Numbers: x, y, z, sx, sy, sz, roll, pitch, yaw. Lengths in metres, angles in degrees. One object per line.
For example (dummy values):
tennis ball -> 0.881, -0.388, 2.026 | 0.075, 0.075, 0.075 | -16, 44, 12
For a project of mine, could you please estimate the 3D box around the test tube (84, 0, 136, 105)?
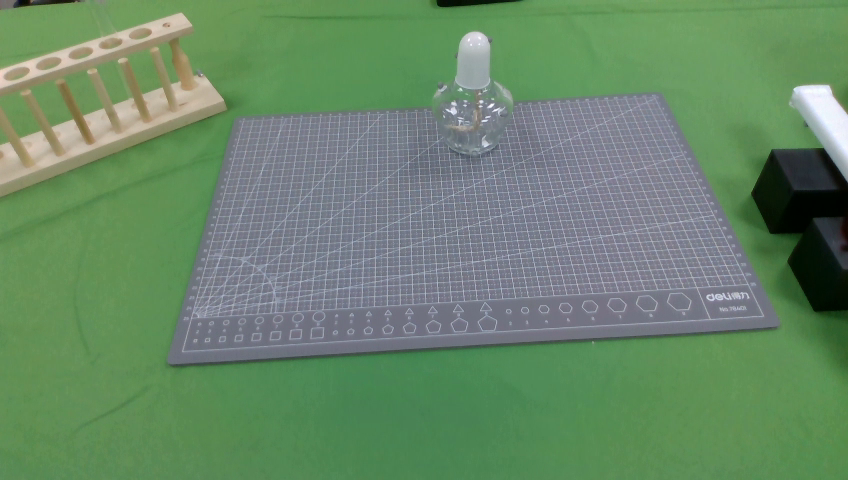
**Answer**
test tube -> -0.306, -0.198, 0.589 | 0.017, 0.151, 0.017 | -1, 45, 2

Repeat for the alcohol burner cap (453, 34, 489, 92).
alcohol burner cap -> 0.043, -0.160, 0.538 | 0.034, 0.048, 0.033 | 1, 47, 0

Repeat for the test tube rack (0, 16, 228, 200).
test tube rack -> -0.331, -0.133, 0.598 | 0.242, 0.086, 0.066 | -28, 52, -21

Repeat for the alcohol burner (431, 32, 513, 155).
alcohol burner -> 0.045, -0.138, 0.560 | 0.078, 0.120, 0.077 | 0, 49, 1

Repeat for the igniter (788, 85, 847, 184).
igniter -> 0.338, -0.034, 0.449 | 0.057, 0.025, 0.274 | -2, 46, 6
